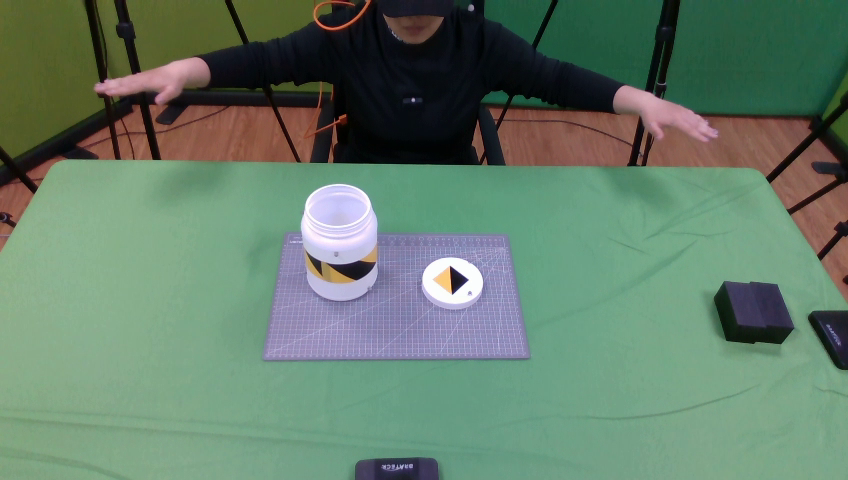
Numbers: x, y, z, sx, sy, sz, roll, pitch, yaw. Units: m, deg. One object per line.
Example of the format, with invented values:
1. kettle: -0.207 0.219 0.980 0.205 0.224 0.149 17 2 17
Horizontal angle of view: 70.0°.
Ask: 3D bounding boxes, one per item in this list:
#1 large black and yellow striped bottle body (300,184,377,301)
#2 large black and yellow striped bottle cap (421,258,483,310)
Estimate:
1. large black and yellow striped bottle body: -0.148 0.004 1.067 0.131 0.185 0.130 2 46 -2
2. large black and yellow striped bottle cap: 0.053 0.080 1.126 0.115 0.019 0.114 2 45 -1
